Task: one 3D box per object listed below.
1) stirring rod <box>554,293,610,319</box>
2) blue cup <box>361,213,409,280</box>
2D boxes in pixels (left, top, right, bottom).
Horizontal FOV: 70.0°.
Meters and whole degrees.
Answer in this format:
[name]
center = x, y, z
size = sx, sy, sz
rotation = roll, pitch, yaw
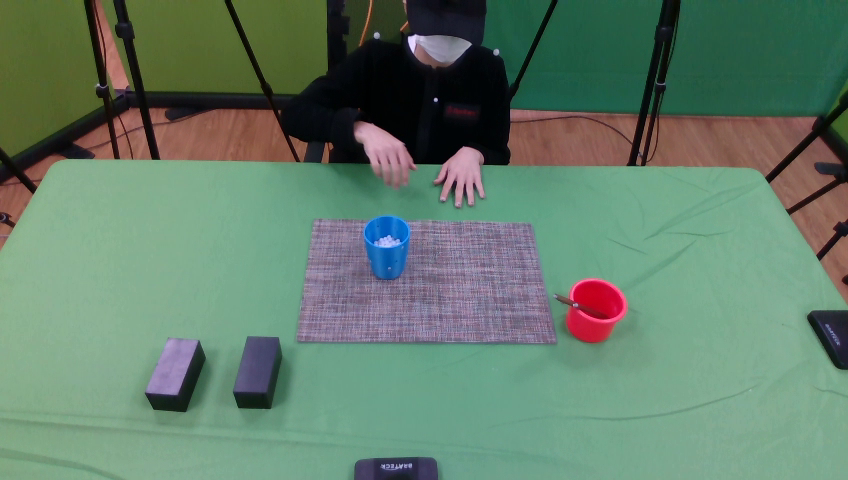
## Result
[stirring rod]
center = 0.271, 0.113, 1.030
size = 0.177, 0.006, 0.014
rotation = 21, 31, -43
[blue cup]
center = -0.070, 0.020, 1.114
size = 0.093, 0.101, 0.092
rotation = 1, 46, -1
